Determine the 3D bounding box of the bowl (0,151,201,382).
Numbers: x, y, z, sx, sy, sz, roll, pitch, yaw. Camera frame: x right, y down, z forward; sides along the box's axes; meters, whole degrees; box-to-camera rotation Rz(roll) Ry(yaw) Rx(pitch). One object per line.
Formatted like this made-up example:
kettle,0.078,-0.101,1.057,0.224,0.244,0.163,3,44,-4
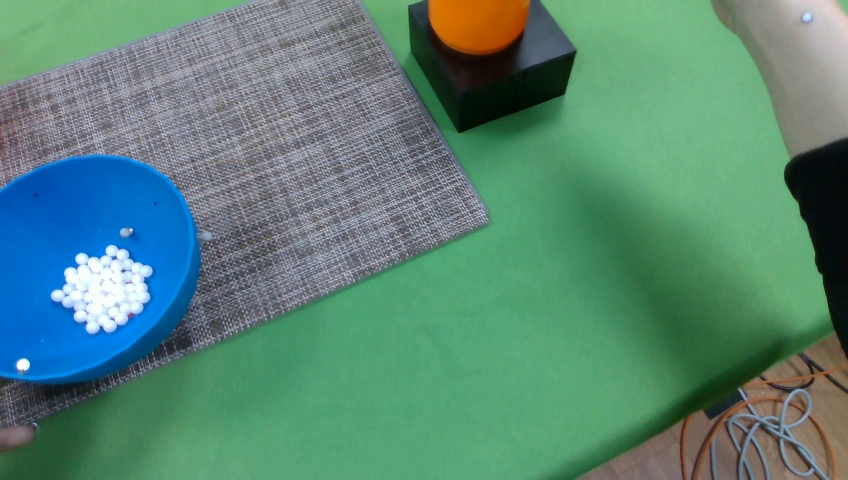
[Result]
bowl,-0.212,0.026,0.395,0.151,0.077,0.150,0,63,0
